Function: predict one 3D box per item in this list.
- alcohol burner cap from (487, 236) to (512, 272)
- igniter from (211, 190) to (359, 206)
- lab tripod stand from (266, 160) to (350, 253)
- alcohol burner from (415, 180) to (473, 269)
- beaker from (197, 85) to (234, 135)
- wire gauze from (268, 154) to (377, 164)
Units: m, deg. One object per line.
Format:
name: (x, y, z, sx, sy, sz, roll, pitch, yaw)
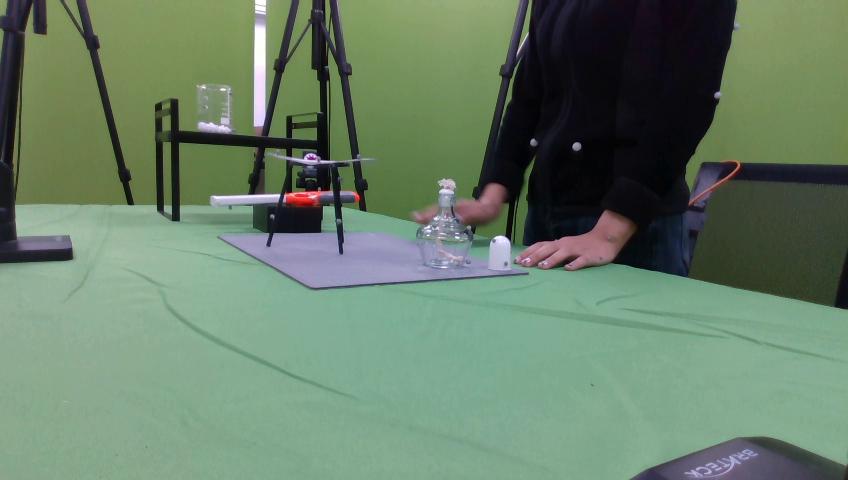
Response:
alcohol burner cap: (0.101, 0.019, 0.802, 0.034, 0.048, 0.034, 2, 7, 0)
igniter: (-0.257, -0.079, 1.148, 0.278, 0.025, 0.057, -4, 12, -30)
lab tripod stand: (-0.163, -0.054, 0.915, 0.148, 0.131, 0.148, 2, 9, 0)
alcohol burner: (0.028, -0.021, 0.807, 0.078, 0.119, 0.078, 3, 5, 0)
beaker: (-0.444, -0.275, 1.283, 0.074, 0.100, 0.084, 5, 8, 22)
wire gauze: (-0.154, -0.120, 0.910, 0.122, 0.011, 0.124, -5, 11, -44)
